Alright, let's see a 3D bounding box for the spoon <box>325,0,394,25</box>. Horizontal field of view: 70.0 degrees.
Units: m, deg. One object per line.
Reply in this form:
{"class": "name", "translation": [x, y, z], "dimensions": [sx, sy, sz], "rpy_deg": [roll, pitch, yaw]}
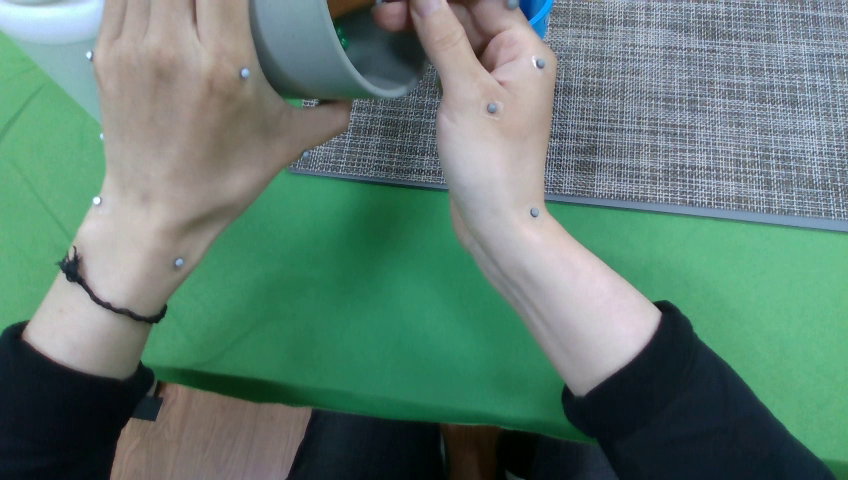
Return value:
{"class": "spoon", "translation": [-0.021, -0.126, 0.316], "dimensions": [0.193, 0.022, 0.041], "rpy_deg": [0, 73, 27]}

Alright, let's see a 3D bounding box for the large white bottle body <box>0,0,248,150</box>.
{"class": "large white bottle body", "translation": [-0.206, -0.159, 0.408], "dimensions": [0.130, 0.186, 0.129], "rpy_deg": [-1, 70, 3]}

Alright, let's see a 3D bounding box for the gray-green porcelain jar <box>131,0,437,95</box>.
{"class": "gray-green porcelain jar", "translation": [-0.072, -0.128, 0.307], "dimensions": [0.126, 0.107, 0.105], "rpy_deg": [7, 69, 28]}

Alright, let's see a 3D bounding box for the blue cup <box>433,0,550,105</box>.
{"class": "blue cup", "translation": [0.044, -0.148, 0.427], "dimensions": [0.092, 0.101, 0.092], "rpy_deg": [-2, 70, 5]}
